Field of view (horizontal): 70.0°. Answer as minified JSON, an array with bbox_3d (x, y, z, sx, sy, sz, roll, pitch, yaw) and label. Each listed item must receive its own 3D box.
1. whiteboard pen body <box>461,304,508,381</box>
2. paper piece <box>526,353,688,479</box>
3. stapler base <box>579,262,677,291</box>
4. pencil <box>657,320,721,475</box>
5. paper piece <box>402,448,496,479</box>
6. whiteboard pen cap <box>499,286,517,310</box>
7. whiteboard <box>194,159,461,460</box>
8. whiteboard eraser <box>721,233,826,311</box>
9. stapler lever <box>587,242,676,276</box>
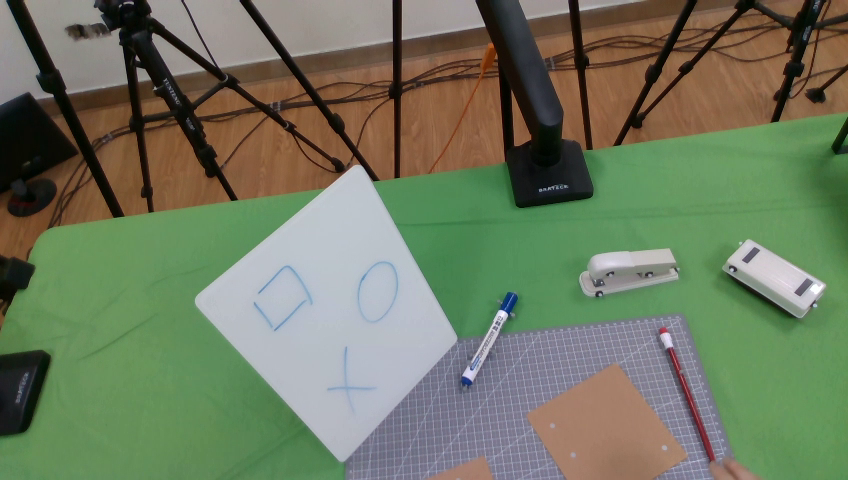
[{"bbox_3d":[0.086,0.125,0.804,0.017,0.017,0.140,21,60,23],"label":"whiteboard pen body"},{"bbox_3d":[0.213,0.222,0.720,0.136,0.009,0.136,-28,57,-6],"label":"paper piece"},{"bbox_3d":[0.281,0.037,0.833,0.130,0.024,0.041,-12,57,-1],"label":"stapler base"},{"bbox_3d":[0.318,0.183,0.728,0.012,0.012,0.192,-11,56,2],"label":"pencil"},{"bbox_3d":[0.030,0.320,0.680,0.135,0.004,0.134,-20,55,-5],"label":"paper piece"},{"bbox_3d":[0.115,0.081,0.829,0.018,0.018,0.033,19,60,21],"label":"whiteboard pen cap"},{"bbox_3d":[-0.124,0.072,0.737,0.217,0.309,0.142,-43,39,-19],"label":"whiteboard"},{"bbox_3d":[0.452,0.042,0.789,0.055,0.042,0.111,-41,59,-17],"label":"whiteboard eraser"},{"bbox_3d":[0.279,0.023,0.814,0.118,0.040,0.026,-12,57,0],"label":"stapler lever"}]
